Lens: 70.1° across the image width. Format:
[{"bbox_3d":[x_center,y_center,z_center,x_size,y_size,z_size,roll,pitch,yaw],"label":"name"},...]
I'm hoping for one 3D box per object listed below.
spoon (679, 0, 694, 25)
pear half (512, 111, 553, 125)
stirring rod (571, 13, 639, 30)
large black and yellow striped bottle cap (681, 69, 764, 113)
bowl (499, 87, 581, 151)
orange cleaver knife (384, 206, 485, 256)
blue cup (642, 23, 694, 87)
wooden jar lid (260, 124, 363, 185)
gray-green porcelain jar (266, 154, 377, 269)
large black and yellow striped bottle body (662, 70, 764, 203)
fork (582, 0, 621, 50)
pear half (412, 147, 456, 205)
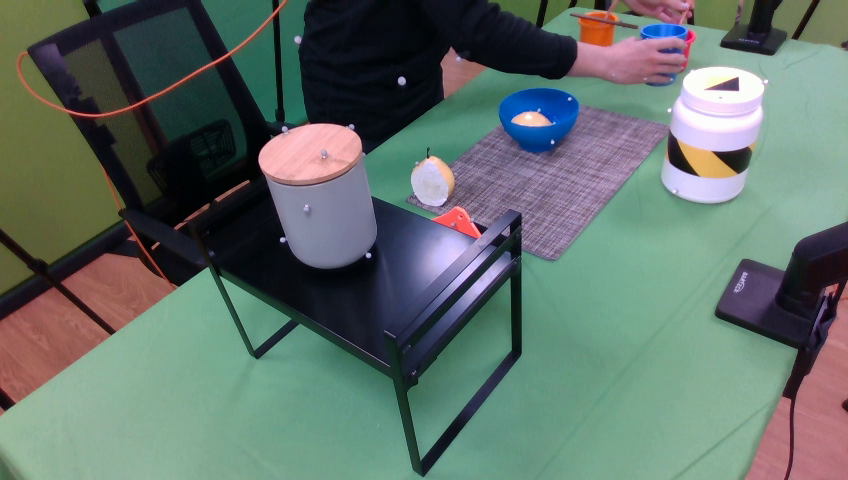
[{"bbox_3d":[0.567,-0.474,1.327,0.022,0.193,0.041,8,15,-41],"label":"spoon"},{"bbox_3d":[0.212,-0.228,1.152,0.088,0.031,0.070,7,45,10],"label":"pear half"},{"bbox_3d":[0.419,-0.509,1.403,0.174,0.006,0.014,29,52,35],"label":"stirring rod"},{"bbox_3d":[0.453,-0.229,0.921,0.115,0.019,0.114,-4,39,4],"label":"large black and yellow striped bottle cap"},{"bbox_3d":[0.220,-0.223,1.155,0.151,0.077,0.150,-4,40,4],"label":"bowl"},{"bbox_3d":[0.012,-0.010,0.942,0.012,0.077,0.210,-37,19,-35],"label":"orange cleaver knife"},{"bbox_3d":[0.462,-0.354,1.167,0.092,0.100,0.092,-4,37,4],"label":"blue cup"},{"bbox_3d":[-0.119,-0.088,0.645,0.108,0.021,0.108,-4,40,4],"label":"wooden jar lid"},{"bbox_3d":[-0.112,-0.039,0.685,0.106,0.127,0.105,-4,40,4],"label":"gray-green porcelain jar"},{"bbox_3d":[0.464,-0.166,0.976,0.131,0.185,0.130,-5,41,5],"label":"large black and yellow striped bottle body"},{"bbox_3d":[0.446,-0.539,1.438,0.207,0.019,0.028,-57,35,12],"label":"fork"},{"bbox_3d":[0.019,-0.120,1.042,0.076,0.110,0.056,11,44,16],"label":"pear half"}]
